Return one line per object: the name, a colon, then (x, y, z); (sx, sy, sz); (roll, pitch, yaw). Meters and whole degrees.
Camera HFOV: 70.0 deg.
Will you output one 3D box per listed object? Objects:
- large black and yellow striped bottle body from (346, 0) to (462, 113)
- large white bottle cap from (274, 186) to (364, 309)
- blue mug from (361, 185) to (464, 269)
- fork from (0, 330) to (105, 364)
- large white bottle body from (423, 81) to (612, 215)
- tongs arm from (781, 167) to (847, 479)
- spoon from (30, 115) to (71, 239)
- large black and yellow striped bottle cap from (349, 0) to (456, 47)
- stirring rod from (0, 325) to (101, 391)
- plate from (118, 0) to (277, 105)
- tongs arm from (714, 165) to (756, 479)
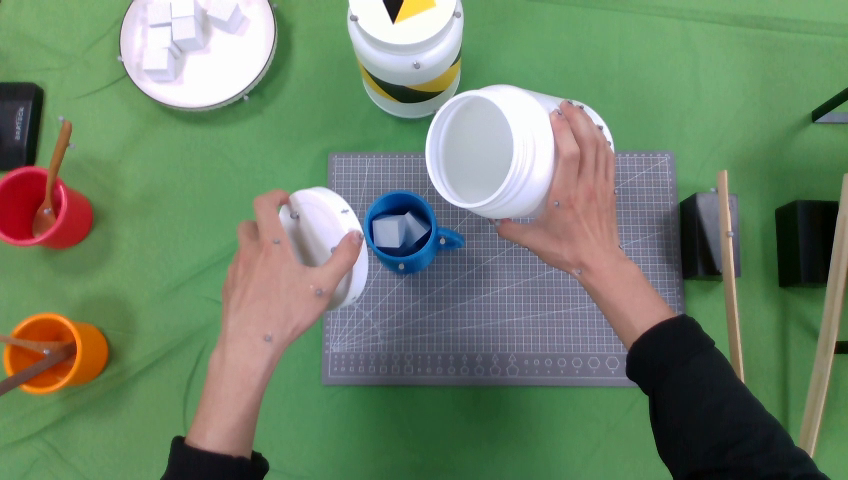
large black and yellow striped bottle body: (-0.021, -0.245, 0.723); (0.131, 0.184, 0.130); (0, 80, 1)
large white bottle cap: (-0.099, 0.008, 0.559); (0.018, 0.115, 0.114); (-18, 77, -45)
blue mug: (-0.011, -0.011, 0.722); (0.116, 0.106, 0.082); (7, 80, 2)
fork: (-0.473, 0.108, 0.688); (0.209, 0.018, 0.028); (26, 76, -38)
large white bottle body: (0.098, -0.092, 0.627); (0.129, 0.185, 0.131); (5, 97, 41)
tongs arm: (0.455, 0.105, 0.701); (0.028, 0.027, 0.387); (9, 92, -6)
spoon: (-0.443, -0.071, 0.721); (0.041, 0.021, 0.194); (46, 128, 11)
large black and yellow striped bottle cap: (-0.023, -0.262, 0.641); (0.115, 0.019, 0.114); (0, 82, 0)
stirring rod: (-0.450, 0.146, 0.688); (0.014, 0.006, 0.176); (47, 42, 4)
plate: (-0.296, -0.275, 0.806); (0.208, 0.039, 0.207); (0, 81, 1)
tongs arm: (0.373, 0.105, 0.700); (0.051, 0.026, 0.385); (-4, 92, -3)
